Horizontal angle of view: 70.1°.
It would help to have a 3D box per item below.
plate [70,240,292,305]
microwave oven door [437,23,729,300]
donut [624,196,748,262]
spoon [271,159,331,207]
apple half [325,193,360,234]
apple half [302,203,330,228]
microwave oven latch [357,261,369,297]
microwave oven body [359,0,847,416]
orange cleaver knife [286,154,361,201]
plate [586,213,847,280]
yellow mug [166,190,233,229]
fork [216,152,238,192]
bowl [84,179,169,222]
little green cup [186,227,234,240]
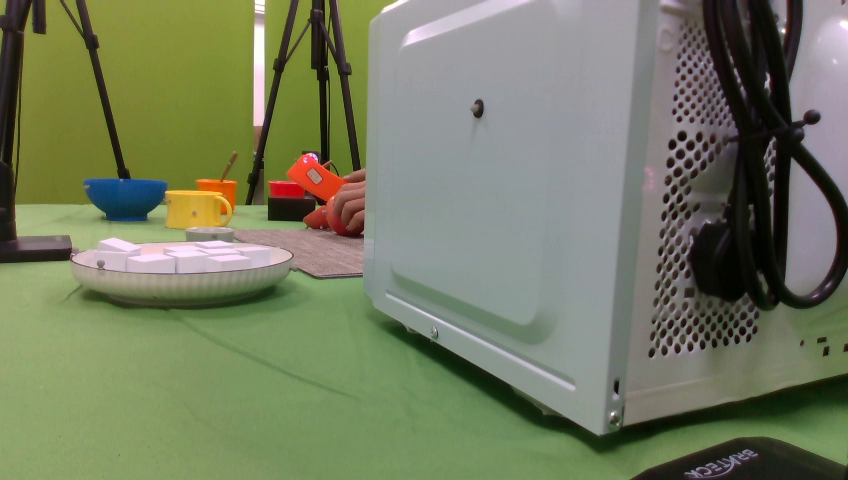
[{"bbox_3d":[-0.242,0.031,0.618,0.208,0.039,0.207,2,8,0],"label":"plate"},{"bbox_3d":[0.181,-0.072,0.621,0.358,0.243,0.039,-2,9,-29],"label":"microwave oven door"},{"bbox_3d":[0.222,-0.008,0.519,0.099,0.048,0.099,16,1,0],"label":"donut"},{"bbox_3d":[-0.308,-0.141,1.514,0.193,0.021,0.041,-41,5,9],"label":"spoon"},{"bbox_3d":[-0.133,-0.047,1.086,0.081,0.074,0.053,4,9,-27],"label":"apple half"},{"bbox_3d":[-0.192,-0.043,1.169,0.081,0.032,0.081,-23,-12,-5],"label":"apple half"},{"bbox_3d":[-0.019,0.033,0.530,0.079,0.029,0.030,-1,7,-27],"label":"microwave oven latch"},{"bbox_3d":[0.211,-0.047,0.474,0.444,0.260,0.324,-1,7,-28],"label":"microwave oven body"},{"bbox_3d":[-0.209,-0.125,1.385,0.212,0.077,0.012,26,6,-14],"label":"orange cleaver knife"},{"bbox_3d":[0.243,0.002,0.512,0.209,0.038,0.209,1,7,0],"label":"plate"},{"bbox_3d":[-0.415,-0.057,1.132,0.130,0.064,0.100,6,8,16],"label":"yellow mug"},{"bbox_3d":[-0.455,-0.132,1.367,0.028,0.018,0.207,-2,-35,-37],"label":"fork"},{"bbox_3d":[-0.584,-0.078,1.194,0.151,0.077,0.151,3,8,0],"label":"bowl"},{"bbox_3d":[-0.284,0.005,0.805,0.061,0.038,0.061,2,8,0],"label":"little green cup"}]
